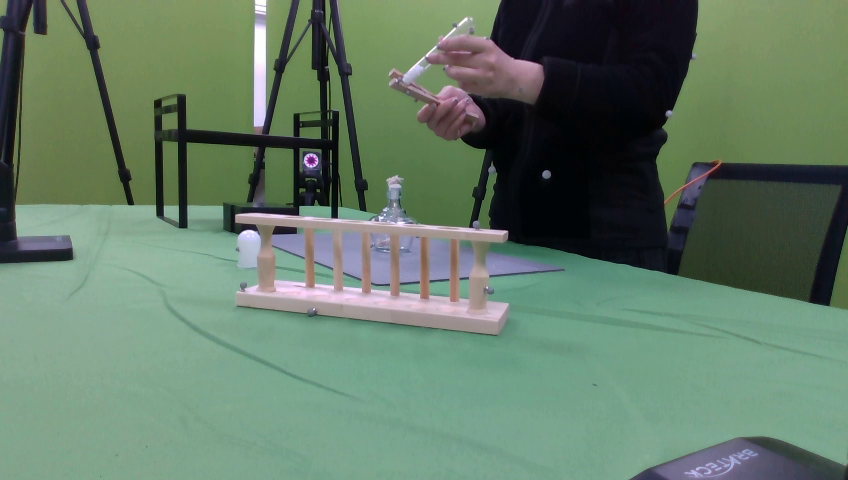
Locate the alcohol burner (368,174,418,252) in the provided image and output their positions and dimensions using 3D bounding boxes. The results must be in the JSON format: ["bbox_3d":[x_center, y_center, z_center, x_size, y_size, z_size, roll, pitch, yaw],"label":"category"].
[{"bbox_3d":[-0.047,-0.042,0.922,0.078,0.119,0.078,1,10,0],"label":"alcohol burner"}]

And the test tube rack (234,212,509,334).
[{"bbox_3d":[-0.046,0.023,0.547,0.242,0.085,0.067,4,8,15],"label":"test tube rack"}]

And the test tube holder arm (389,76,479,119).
[{"bbox_3d":[0.019,-0.217,0.934,0.179,0.013,0.015,14,-30,-40],"label":"test tube holder arm"}]

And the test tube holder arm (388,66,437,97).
[{"bbox_3d":[-0.015,-0.233,0.908,0.088,0.010,0.015,26,-38,-34],"label":"test tube holder arm"}]

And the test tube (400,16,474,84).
[{"bbox_3d":[0.014,-0.260,0.839,0.017,0.017,0.149,-5,-17,-43],"label":"test tube"}]

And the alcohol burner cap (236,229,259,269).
[{"bbox_3d":[-0.221,0.010,0.759,0.034,0.048,0.034,-1,12,1],"label":"alcohol burner cap"}]
